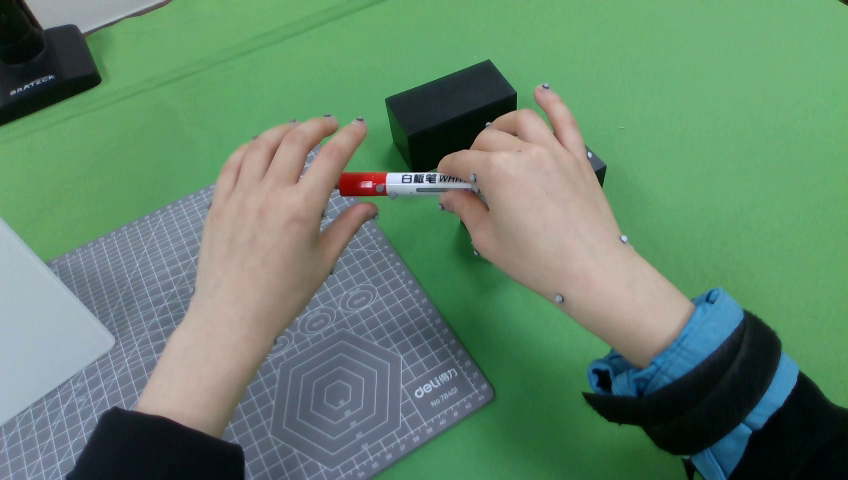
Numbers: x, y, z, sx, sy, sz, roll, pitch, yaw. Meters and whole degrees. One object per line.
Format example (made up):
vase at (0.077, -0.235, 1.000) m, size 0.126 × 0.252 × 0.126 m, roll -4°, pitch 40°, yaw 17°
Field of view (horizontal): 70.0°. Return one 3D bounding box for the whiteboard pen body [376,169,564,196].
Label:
whiteboard pen body at (0.017, -0.037, 0.385) m, size 0.140 × 0.017 × 0.016 m, roll 2°, pitch 55°, yaw 6°

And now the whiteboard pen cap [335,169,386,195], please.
whiteboard pen cap at (-0.040, -0.038, 0.393) m, size 0.032 × 0.017 × 0.017 m, roll -1°, pitch 55°, yaw 7°

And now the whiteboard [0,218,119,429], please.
whiteboard at (-0.391, 0.003, 0.371) m, size 0.217 × 0.308 × 0.142 m, roll -37°, pitch 40°, yaw -18°
